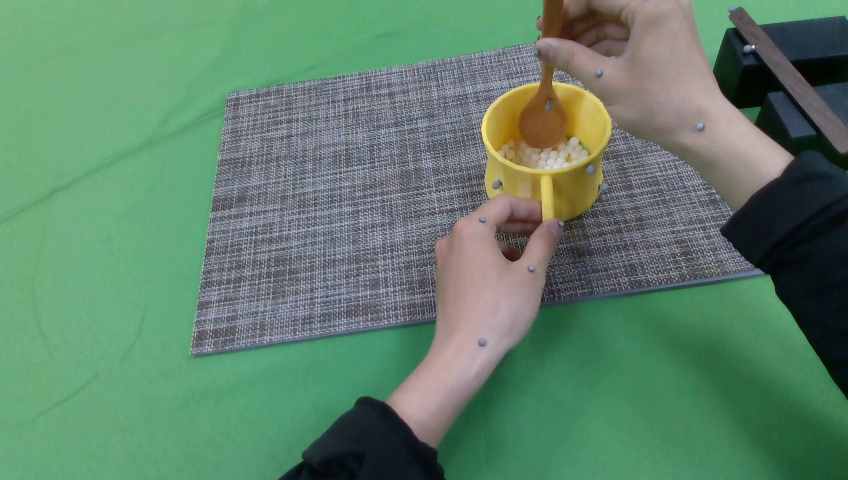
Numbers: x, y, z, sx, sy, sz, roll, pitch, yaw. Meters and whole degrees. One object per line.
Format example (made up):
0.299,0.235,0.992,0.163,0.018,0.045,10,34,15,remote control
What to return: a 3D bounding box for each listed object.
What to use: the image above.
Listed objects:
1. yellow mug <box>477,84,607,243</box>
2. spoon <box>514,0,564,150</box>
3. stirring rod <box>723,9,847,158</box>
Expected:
0.094,-0.057,0.486,0.100,0.064,0.129,-2,56,8,yellow mug
0.087,-0.124,0.437,0.041,0.195,0.021,6,69,10,spoon
0.287,-0.131,0.486,0.014,0.006,0.174,-35,50,28,stirring rod
